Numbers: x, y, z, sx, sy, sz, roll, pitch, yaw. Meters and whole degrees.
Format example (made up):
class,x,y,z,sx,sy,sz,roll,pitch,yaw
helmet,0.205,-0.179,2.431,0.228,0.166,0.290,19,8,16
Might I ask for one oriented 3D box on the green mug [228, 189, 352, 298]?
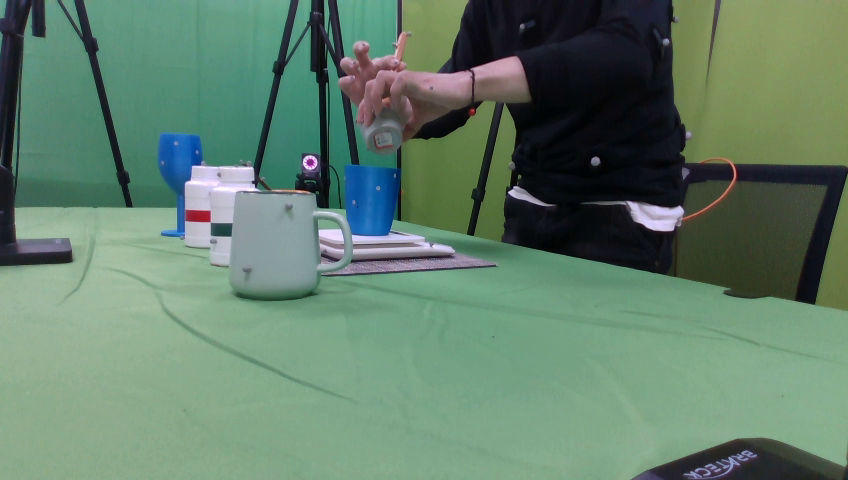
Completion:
class,x,y,z,sx,sy,sz,roll,pitch,yaw
green mug,-0.135,0.002,0.618,0.125,0.105,0.092,2,7,4

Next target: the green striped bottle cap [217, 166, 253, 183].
class,x,y,z,sx,sy,sz,roll,pitch,yaw
green striped bottle cap,-0.242,-0.085,0.777,0.044,0.020,0.044,2,9,0

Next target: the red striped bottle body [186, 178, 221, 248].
class,x,y,z,sx,sy,sz,roll,pitch,yaw
red striped bottle body,-0.331,-0.050,0.927,0.063,0.119,0.063,2,6,0

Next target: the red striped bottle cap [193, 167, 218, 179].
class,x,y,z,sx,sy,sz,roll,pitch,yaw
red striped bottle cap,-0.329,-0.103,0.921,0.044,0.017,0.044,0,8,0

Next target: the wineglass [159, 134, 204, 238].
class,x,y,z,sx,sy,sz,roll,pitch,yaw
wineglass,-0.415,-0.093,1.040,0.074,0.172,0.073,2,7,0

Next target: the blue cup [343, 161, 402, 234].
class,x,y,z,sx,sy,sz,roll,pitch,yaw
blue cup,-0.078,-0.062,0.884,0.093,0.100,0.092,4,6,0

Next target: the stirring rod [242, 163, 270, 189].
class,x,y,z,sx,sy,sz,roll,pitch,yaw
stirring rod,-0.298,-0.091,1.198,0.014,0.006,0.177,11,-31,45

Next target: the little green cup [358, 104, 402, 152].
class,x,y,z,sx,sy,sz,roll,pitch,yaw
little green cup,-0.060,-0.154,0.848,0.062,0.061,0.038,-1,45,-20

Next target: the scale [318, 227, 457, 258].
class,x,y,z,sx,sy,sz,roll,pitch,yaw
scale,-0.067,0.001,0.906,0.202,0.031,0.148,-2,8,-31

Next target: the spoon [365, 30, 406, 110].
class,x,y,z,sx,sy,sz,roll,pitch,yaw
spoon,-0.053,-0.245,0.904,0.041,0.193,0.022,-5,-37,29

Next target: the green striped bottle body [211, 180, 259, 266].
class,x,y,z,sx,sy,sz,roll,pitch,yaw
green striped bottle body,-0.243,-0.029,0.784,0.063,0.119,0.063,2,7,0
